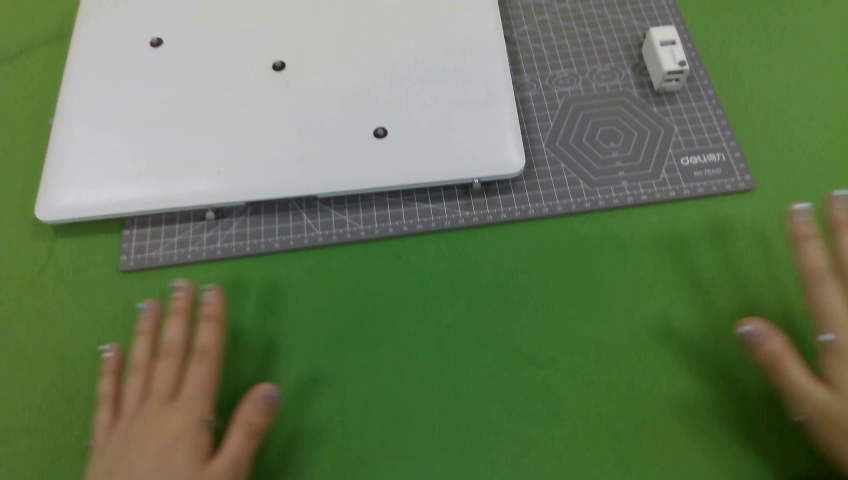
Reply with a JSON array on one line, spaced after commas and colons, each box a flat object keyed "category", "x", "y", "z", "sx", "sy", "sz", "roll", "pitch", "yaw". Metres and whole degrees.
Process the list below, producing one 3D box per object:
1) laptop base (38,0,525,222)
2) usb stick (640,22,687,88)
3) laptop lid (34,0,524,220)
[{"category": "laptop base", "x": -0.111, "y": -0.132, "z": 0.484, "sx": 0.354, "sy": 0.023, "sz": 0.233, "roll": -6, "pitch": 67, "yaw": 0}, {"category": "usb stick", "x": 0.184, "y": -0.149, "z": 0.471, "sx": 0.021, "sy": 0.027, "sz": 0.058, "roll": -6, "pitch": 61, "yaw": 1}, {"category": "laptop lid", "x": -0.112, "y": -0.136, "z": 0.472, "sx": 0.357, "sy": 0.013, "sz": 0.239, "roll": -4, "pitch": 66, "yaw": 1}]
